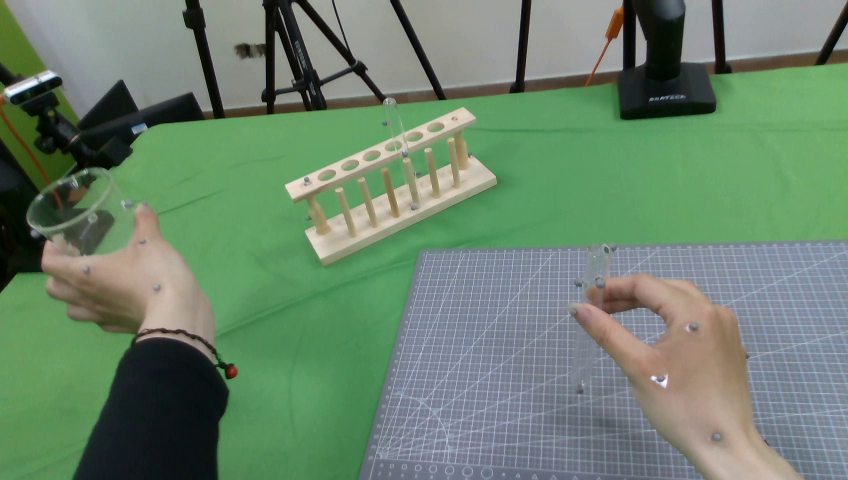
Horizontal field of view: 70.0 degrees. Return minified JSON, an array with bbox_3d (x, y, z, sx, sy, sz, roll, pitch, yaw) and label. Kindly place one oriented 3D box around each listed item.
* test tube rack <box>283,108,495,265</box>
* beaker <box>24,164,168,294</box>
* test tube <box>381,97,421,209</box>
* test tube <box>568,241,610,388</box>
[{"bbox_3d":[-0.038,-0.069,0.742,0.242,0.086,0.066,-26,43,-12],"label":"test tube rack"},{"bbox_3d":[-0.283,-0.007,0.535,0.074,0.101,0.083,-28,46,-9],"label":"beaker"},{"bbox_3d":[-0.025,-0.098,0.703,0.017,0.152,0.017,-9,41,8],"label":"test tube"},{"bbox_3d":[0.121,0.061,0.450,0.017,0.151,0.017,-3,41,3],"label":"test tube"}]
